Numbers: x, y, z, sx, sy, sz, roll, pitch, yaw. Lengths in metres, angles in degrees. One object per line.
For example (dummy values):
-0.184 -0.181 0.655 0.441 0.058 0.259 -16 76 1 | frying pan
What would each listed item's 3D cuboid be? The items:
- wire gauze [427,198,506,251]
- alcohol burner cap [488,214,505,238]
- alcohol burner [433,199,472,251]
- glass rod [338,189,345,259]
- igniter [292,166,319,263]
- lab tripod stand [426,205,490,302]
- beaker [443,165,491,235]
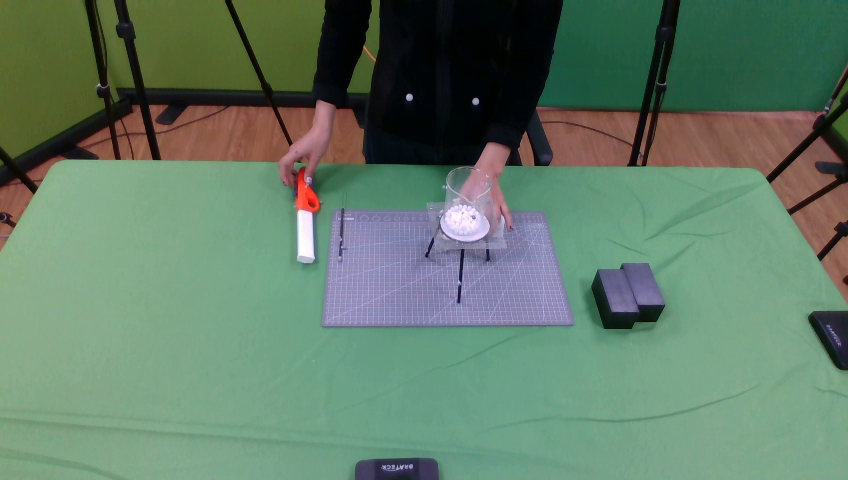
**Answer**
0.072 -0.028 1.057 0.125 0.011 0.120 -1 49 -8 | wire gauze
0.148 -0.032 1.222 0.034 0.048 0.033 2 45 -2 | alcohol burner cap
0.056 -0.036 1.170 0.078 0.119 0.077 3 48 -3 | alcohol burner
-0.166 -0.036 1.227 0.008 0.008 0.198 -1 46 -4 | glass rod
-0.241 -0.061 1.233 0.057 0.025 0.274 15 41 -24 | igniter
0.069 0.017 1.106 0.148 0.132 0.147 3 47 -3 | lab tripod stand
0.070 -0.062 1.023 0.074 0.101 0.083 -2 48 -6 | beaker
